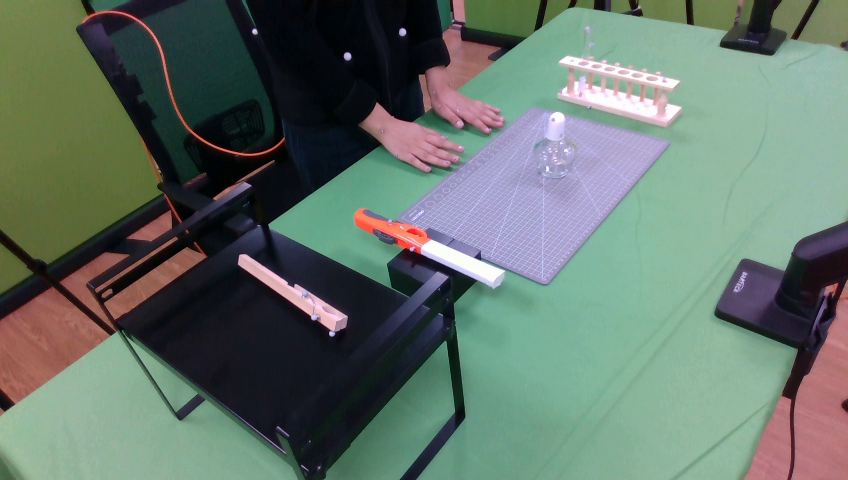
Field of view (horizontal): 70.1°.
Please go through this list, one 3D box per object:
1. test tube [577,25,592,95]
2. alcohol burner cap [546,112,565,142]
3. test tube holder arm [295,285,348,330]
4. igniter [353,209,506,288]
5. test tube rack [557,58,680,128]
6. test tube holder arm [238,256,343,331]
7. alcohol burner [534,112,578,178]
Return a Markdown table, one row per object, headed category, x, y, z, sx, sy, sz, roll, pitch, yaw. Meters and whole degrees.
| category | x | y | z | sx | sy | sz | roll | pitch | yaw |
| --- | --- | --- | --- | --- | --- | --- | --- | --- | --- |
| test tube | 0.325 | -0.362 | 1.226 | 0.017 | 0.151 | 0.017 | -3 | 45 | 4 |
| alcohol burner cap | 0.229 | -0.197 | 1.042 | 0.034 | 0.048 | 0.033 | -1 | 45 | 2 |
| test tube holder arm | -0.113 | 0.070 | 0.635 | 0.087 | 0.015 | 0.010 | 25 | 17 | 36 |
| igniter | -0.003 | 0.006 | 0.892 | 0.274 | 0.025 | 0.057 | 24 | 37 | 31 |
| test tube rack | 0.395 | -0.309 | 1.230 | 0.240 | 0.085 | 0.067 | 25 | 50 | 33 |
| test tube holder arm | -0.150 | 0.054 | 0.657 | 0.177 | 0.015 | 0.013 | 25 | 17 | 35 |
| alcohol burner | 0.232 | -0.170 | 1.065 | 0.078 | 0.119 | 0.077 | -5 | 39 | 5 |
